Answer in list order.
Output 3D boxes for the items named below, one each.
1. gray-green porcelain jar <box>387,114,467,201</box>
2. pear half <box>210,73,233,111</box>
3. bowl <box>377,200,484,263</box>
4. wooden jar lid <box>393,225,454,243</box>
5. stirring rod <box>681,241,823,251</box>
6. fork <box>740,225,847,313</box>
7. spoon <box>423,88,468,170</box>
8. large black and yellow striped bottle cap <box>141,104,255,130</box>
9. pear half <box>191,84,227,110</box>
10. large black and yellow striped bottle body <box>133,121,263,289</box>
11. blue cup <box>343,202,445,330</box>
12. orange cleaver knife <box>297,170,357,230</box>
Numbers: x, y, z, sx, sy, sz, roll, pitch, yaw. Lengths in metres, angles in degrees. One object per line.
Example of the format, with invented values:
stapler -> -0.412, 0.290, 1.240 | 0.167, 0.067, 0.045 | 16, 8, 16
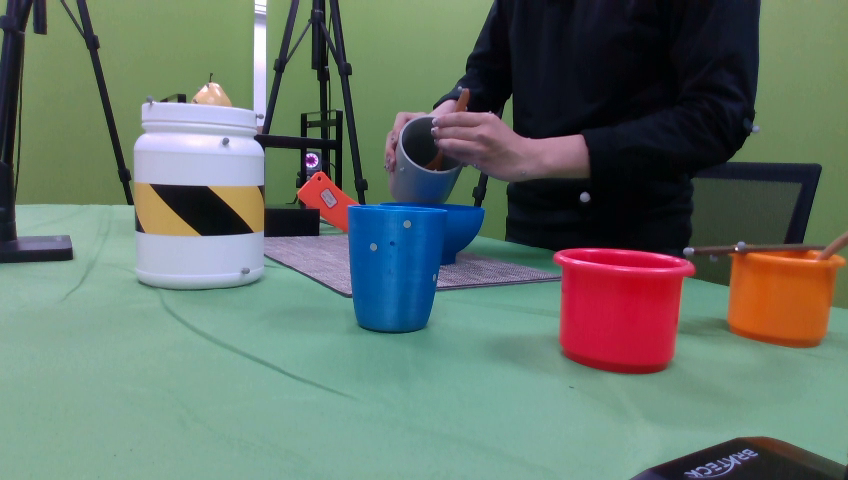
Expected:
gray-green porcelain jar -> 0.000, -0.113, 0.929 | 0.106, 0.105, 0.126 | 0, -28, -13
pear half -> -0.402, -0.262, 1.162 | 0.076, 0.109, 0.056 | 6, 7, 2
bowl -> 0.008, -0.012, 0.842 | 0.151, 0.077, 0.151 | 2, 7, 0
wooden jar lid -> -0.001, -0.011, 1.058 | 0.108, 0.020, 0.108 | 8, 5, 0
stirring rod -> 0.289, 0.005, 0.525 | 0.177, 0.006, 0.014 | -1, 5, -26
fork -> 0.323, 0.013, 0.485 | 0.028, 0.018, 0.207 | 8, -37, -5
spoon -> 0.027, -0.137, 0.882 | 0.041, 0.193, 0.021 | 24, 42, -2
large black and yellow striped bottle cap -> -0.241, -0.131, 0.650 | 0.115, 0.019, 0.115 | 3, 8, 0
pear half -> -0.406, -0.248, 1.128 | 0.070, 0.088, 0.031 | 5, 7, 2
large black and yellow striped bottle body -> -0.243, -0.048, 0.659 | 0.131, 0.184, 0.130 | 2, 7, 0
blue cup -> -0.027, 0.021, 0.510 | 0.093, 0.100, 0.092 | 3, 5, 0
orange cleaver knife -> -0.149, -0.058, 1.170 | 0.212, 0.077, 0.012 | 33, -15, -32
